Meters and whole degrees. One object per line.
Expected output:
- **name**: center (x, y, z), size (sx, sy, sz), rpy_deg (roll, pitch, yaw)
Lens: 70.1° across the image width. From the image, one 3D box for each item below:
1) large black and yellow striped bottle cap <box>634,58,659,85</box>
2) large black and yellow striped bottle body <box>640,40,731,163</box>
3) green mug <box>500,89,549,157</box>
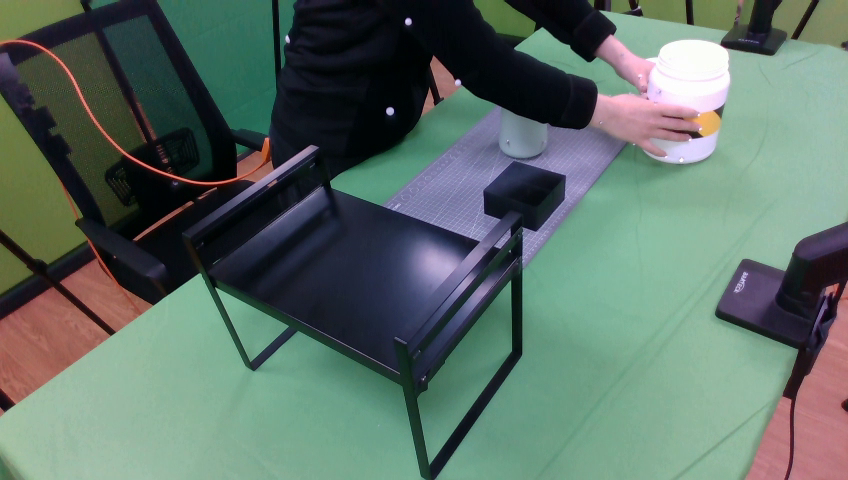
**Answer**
- **large black and yellow striped bottle cap**: center (0.522, -0.370, 1.331), size (0.115, 0.019, 0.114), rpy_deg (-3, 41, 3)
- **large black and yellow striped bottle body**: center (0.459, -0.242, 1.063), size (0.131, 0.185, 0.130), rpy_deg (-4, 41, 4)
- **green mug**: center (0.196, -0.227, 1.145), size (0.092, 0.105, 0.125), rpy_deg (14, 45, 24)
